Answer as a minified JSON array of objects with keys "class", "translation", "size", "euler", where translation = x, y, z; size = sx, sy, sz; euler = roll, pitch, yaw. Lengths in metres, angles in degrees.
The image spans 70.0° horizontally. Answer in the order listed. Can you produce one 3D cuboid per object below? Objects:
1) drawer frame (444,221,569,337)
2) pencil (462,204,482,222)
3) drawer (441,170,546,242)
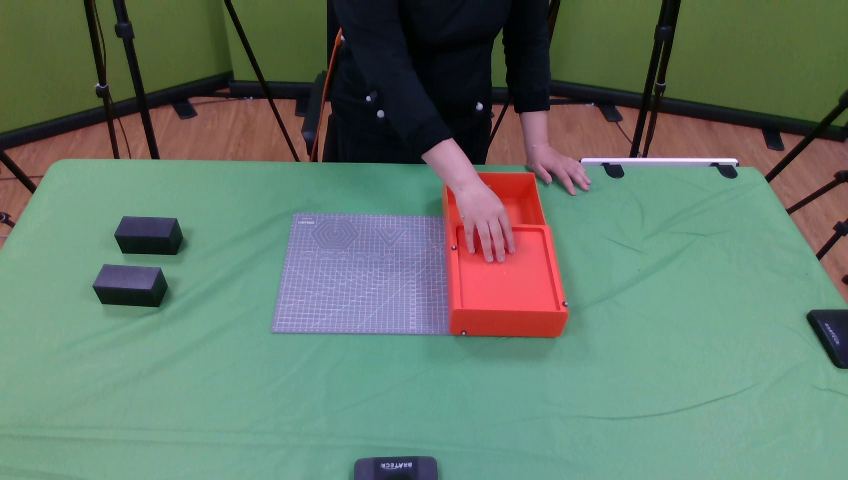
[{"class":"drawer frame","translation":[0.141,0.067,1.097],"size":[0.202,0.083,0.212],"euler":[2,46,-4]},{"class":"pencil","translation":[0.133,-0.018,1.220],"size":[0.012,0.012,0.193],"euler":[-24,51,-25]},{"class":"drawer","translation":[0.137,-0.048,1.214],"size":[0.195,0.073,0.210],"euler":[2,44,-4]}]
